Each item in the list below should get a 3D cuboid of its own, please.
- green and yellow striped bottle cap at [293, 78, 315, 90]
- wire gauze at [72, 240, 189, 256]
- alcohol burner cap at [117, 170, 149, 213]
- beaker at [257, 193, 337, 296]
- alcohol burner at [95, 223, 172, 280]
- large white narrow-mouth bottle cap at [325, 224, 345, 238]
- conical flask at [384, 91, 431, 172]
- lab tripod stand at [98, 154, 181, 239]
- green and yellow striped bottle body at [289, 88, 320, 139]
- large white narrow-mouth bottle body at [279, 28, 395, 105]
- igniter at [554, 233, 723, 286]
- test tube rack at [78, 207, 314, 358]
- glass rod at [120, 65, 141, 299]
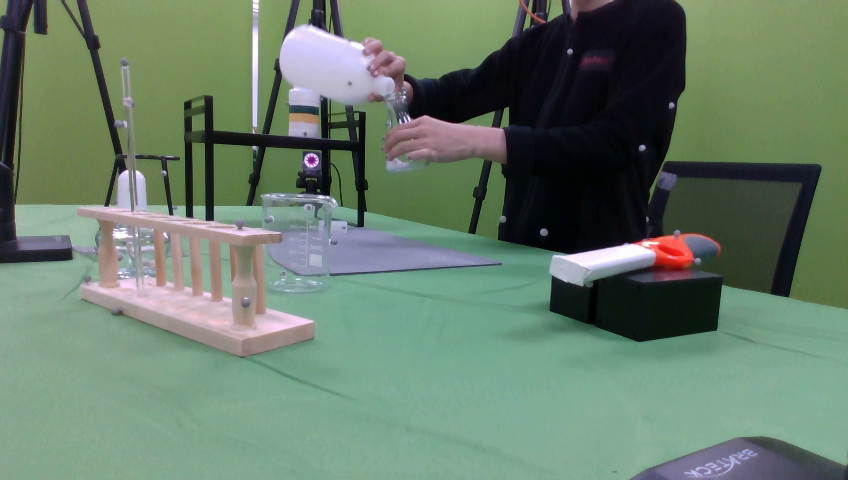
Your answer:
[{"bbox_3d":[-0.248,-0.323,1.256,0.045,0.020,0.045,4,8,0],"label":"green and yellow striped bottle cap"},{"bbox_3d":[-0.399,0.013,0.820,0.126,0.011,0.121,-3,8,-37],"label":"wire gauze"},{"bbox_3d":[-0.320,-0.052,0.661,0.034,0.048,0.034,-3,0,0],"label":"alcohol burner cap"},{"bbox_3d":[-0.130,0.003,0.628,0.084,0.100,0.074,5,8,15],"label":"beaker"},{"bbox_3d":[-0.320,-0.017,0.667,0.078,0.119,0.078,0,7,0],"label":"alcohol burner"},{"bbox_3d":[-0.160,-0.017,1.090,0.038,0.024,0.037,3,9,0],"label":"large white narrow-mouth bottle cap"},{"bbox_3d":[-0.035,-0.172,0.961,0.075,0.122,0.075,-11,5,1],"label":"conical flask"},{"bbox_3d":[-0.427,-0.066,0.942,0.148,0.131,0.148,1,6,0],"label":"lab tripod stand"},{"bbox_3d":[-0.250,-0.272,1.261,0.063,0.119,0.063,3,7,0],"label":"green and yellow striped bottle body"},{"bbox_3d":[-0.135,-0.276,0.992,0.194,0.101,0.102,24,16,22],"label":"large white narrow-mouth bottle body"},{"bbox_3d":[0.214,0.015,0.570,0.278,0.025,0.057,-5,22,-44],"label":"igniter"},{"bbox_3d":[-0.196,0.024,0.500,0.241,0.085,0.067,8,8,37],"label":"test tube rack"},{"bbox_3d":[-0.249,-0.047,0.513,0.008,0.199,0.008,-1,4,0],"label":"glass rod"}]
